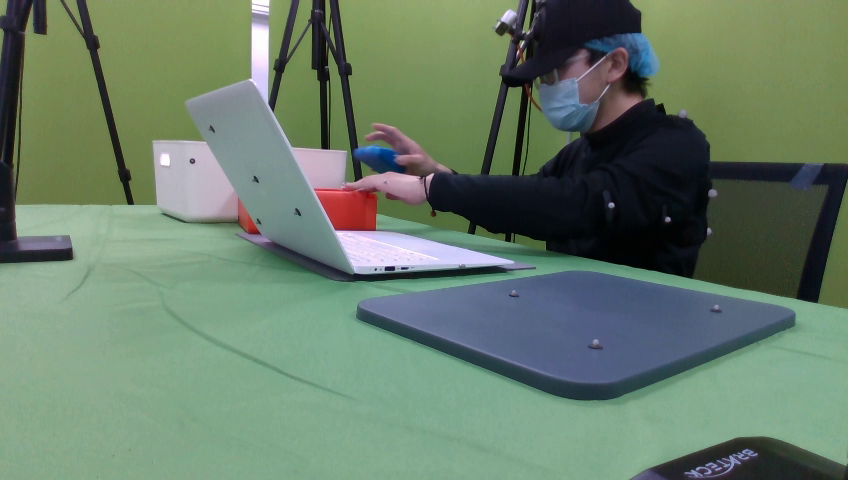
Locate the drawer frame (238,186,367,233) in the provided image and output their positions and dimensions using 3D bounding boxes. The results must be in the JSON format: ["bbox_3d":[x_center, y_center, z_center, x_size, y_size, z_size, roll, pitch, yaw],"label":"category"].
[{"bbox_3d":[-0.237,-0.063,1.157,0.214,0.082,0.201,-1,8,-23],"label":"drawer frame"}]

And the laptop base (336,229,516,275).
[{"bbox_3d":[-0.065,0.014,0.877,0.237,0.023,0.352,2,7,-32],"label":"laptop base"}]

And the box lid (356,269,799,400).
[{"bbox_3d":[0.152,0.068,0.564,0.374,0.015,0.262,-4,10,-41],"label":"box lid"}]

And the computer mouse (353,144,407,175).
[{"bbox_3d":[-0.087,-0.166,1.219,0.062,0.041,0.118,3,-12,34],"label":"computer mouse"}]

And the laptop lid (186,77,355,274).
[{"bbox_3d":[-0.211,-0.081,0.772,0.013,0.242,0.355,-35,25,-23],"label":"laptop lid"}]

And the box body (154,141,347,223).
[{"bbox_3d":[-0.384,-0.132,1.346,0.366,0.160,0.253,-3,9,-36],"label":"box body"}]

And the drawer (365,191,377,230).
[{"bbox_3d":[-0.215,-0.063,1.166,0.213,0.073,0.193,-1,8,-21],"label":"drawer"}]
